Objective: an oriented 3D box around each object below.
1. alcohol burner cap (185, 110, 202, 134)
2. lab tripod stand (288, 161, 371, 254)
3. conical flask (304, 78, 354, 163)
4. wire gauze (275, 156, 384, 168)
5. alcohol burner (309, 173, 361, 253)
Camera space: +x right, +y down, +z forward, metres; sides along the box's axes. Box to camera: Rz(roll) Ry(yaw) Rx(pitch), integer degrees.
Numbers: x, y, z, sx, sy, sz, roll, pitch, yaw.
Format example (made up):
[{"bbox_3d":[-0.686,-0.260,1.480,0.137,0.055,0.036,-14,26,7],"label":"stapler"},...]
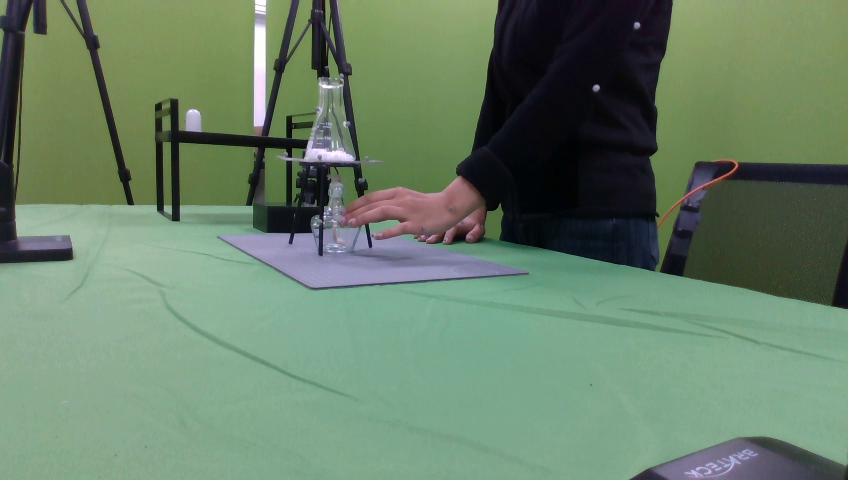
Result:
[{"bbox_3d":[-0.470,-0.241,1.234,0.034,0.048,0.034,4,7,0],"label":"alcohol burner cap"},{"bbox_3d":[-0.148,-0.052,0.909,0.148,0.131,0.148,1,8,0],"label":"lab tripod stand"},{"bbox_3d":[-0.140,-0.175,0.893,0.075,0.122,0.075,2,8,0],"label":"conical flask"},{"bbox_3d":[-0.142,-0.116,0.900,0.122,0.011,0.124,-1,5,-37],"label":"wire gauze"},{"bbox_3d":[-0.132,-0.040,0.900,0.078,0.119,0.078,1,6,0],"label":"alcohol burner"}]
